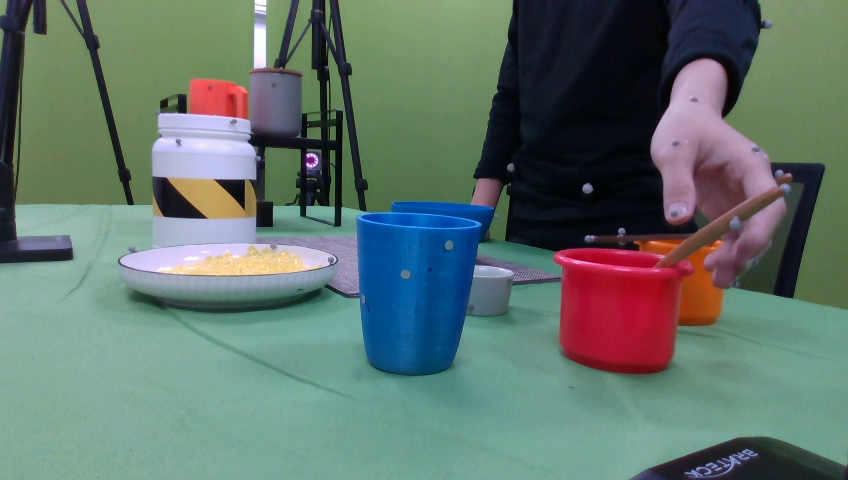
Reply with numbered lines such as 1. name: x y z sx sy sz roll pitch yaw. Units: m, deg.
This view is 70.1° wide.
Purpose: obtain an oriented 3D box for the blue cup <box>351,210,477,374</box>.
1. blue cup: -0.009 0.034 0.414 0.093 0.100 0.092 4 8 0

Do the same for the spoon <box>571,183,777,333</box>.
1. spoon: 0.161 0.020 0.413 0.042 0.021 0.193 1 -36 -24

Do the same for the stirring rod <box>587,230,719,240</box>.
1. stirring rod: 0.226 -0.006 0.588 0.177 0.006 0.014 -2 10 -30

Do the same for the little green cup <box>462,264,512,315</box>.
1. little green cup: 0.053 0.047 0.580 0.061 0.038 0.061 3 8 0

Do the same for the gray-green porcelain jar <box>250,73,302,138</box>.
1. gray-green porcelain jar: -0.312 -0.280 1.270 0.106 0.126 0.106 3 8 0

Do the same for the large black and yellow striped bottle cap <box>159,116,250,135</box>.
1. large black and yellow striped bottle cap: -0.292 -0.153 0.810 0.115 0.019 0.115 3 8 0

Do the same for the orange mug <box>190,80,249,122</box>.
1. orange mug: -0.393 -0.257 1.173 0.126 0.100 0.084 1 6 25

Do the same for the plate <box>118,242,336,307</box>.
1. plate: -0.194 0.033 0.615 0.209 0.038 0.209 2 7 0

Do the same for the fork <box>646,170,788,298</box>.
1. fork: 0.256 0.004 0.543 0.028 0.018 0.207 3 -37 -10

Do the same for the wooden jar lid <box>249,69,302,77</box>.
1. wooden jar lid: -0.309 -0.341 1.262 0.108 0.020 0.108 1 8 0

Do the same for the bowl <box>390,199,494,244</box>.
1. bowl: 0.024 -0.015 0.872 0.151 0.077 0.151 3 7 0

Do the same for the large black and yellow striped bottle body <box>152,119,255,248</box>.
1. large black and yellow striped bottle body: -0.296 -0.071 0.819 0.131 0.184 0.130 2 7 0
